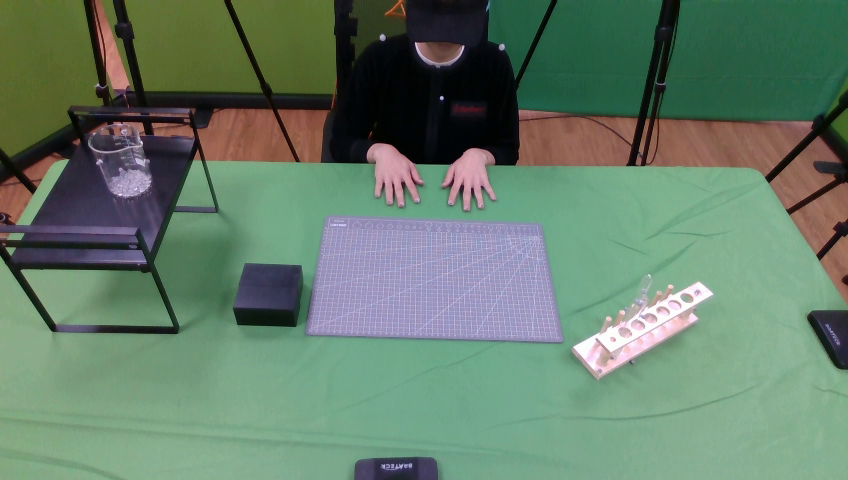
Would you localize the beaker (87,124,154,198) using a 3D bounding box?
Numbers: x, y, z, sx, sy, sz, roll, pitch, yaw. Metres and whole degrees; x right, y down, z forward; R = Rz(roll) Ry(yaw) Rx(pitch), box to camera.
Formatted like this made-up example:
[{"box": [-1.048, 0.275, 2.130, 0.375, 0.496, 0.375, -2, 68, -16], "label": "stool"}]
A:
[{"box": [-0.482, -0.124, 0.978, 0.084, 0.101, 0.073, 9, 46, 4], "label": "beaker"}]

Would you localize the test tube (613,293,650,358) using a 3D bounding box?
[{"box": [0.329, 0.140, 0.966, 0.017, 0.151, 0.017, 4, 43, -3], "label": "test tube"}]

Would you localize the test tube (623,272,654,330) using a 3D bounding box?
[{"box": [0.356, 0.104, 1.010, 0.017, 0.151, 0.017, 1, 46, -1], "label": "test tube"}]

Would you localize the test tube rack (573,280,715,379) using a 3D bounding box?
[{"box": [0.378, 0.140, 1.038, 0.242, 0.085, 0.066, -22, 51, -23], "label": "test tube rack"}]
